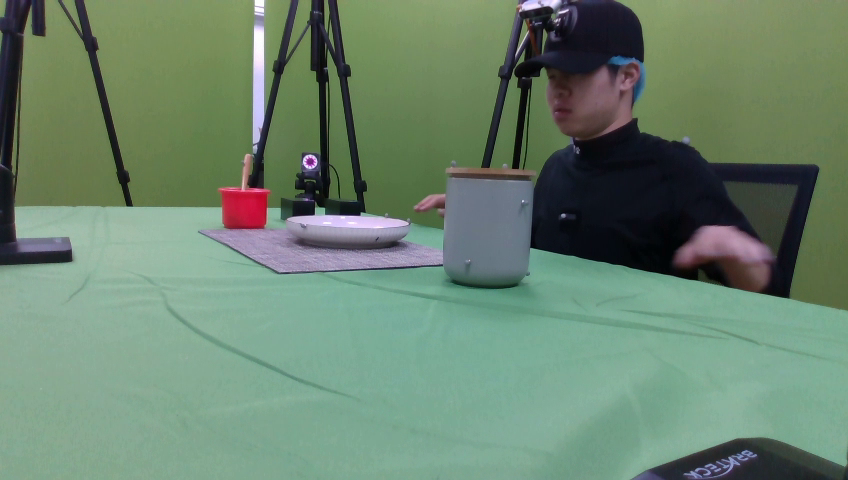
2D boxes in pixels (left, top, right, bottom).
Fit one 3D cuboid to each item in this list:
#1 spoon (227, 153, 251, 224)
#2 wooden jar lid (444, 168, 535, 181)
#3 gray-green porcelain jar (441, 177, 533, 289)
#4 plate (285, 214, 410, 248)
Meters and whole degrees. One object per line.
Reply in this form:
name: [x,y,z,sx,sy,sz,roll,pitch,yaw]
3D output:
spoon: [-0.363,-0.107,1.211,0.042,0.021,0.193,-1,47,-7]
wooden jar lid: [0.077,-0.074,0.718,0.108,0.020,0.108,1,5,0]
gray-green porcelain jar: [0.075,-0.010,0.727,0.106,0.126,0.106,2,7,0]
plate: [-0.127,-0.015,1.012,0.208,0.039,0.207,3,7,0]
